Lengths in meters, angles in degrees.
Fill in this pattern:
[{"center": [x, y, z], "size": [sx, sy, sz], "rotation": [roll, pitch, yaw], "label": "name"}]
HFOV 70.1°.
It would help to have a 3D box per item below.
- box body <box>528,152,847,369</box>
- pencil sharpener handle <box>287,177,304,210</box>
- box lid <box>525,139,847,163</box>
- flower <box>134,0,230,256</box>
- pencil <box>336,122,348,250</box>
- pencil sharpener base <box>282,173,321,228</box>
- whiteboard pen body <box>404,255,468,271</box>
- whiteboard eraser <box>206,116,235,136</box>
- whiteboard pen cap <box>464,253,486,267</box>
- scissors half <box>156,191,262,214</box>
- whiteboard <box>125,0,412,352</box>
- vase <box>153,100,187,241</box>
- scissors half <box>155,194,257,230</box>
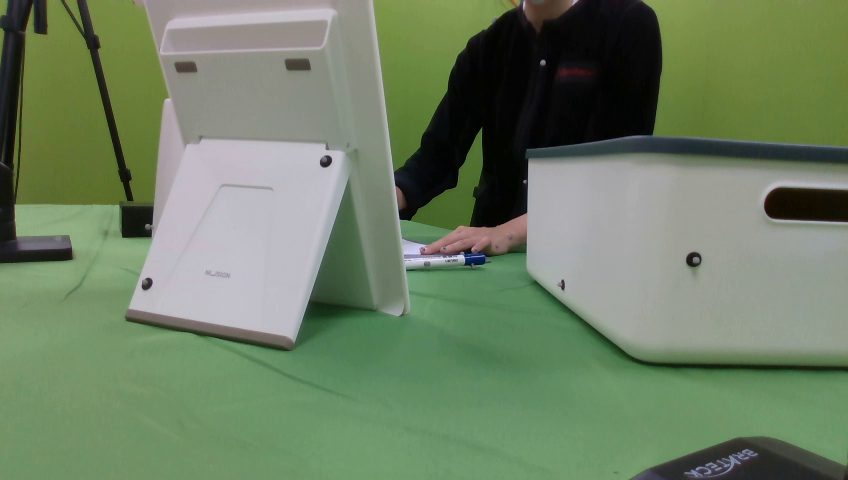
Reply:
[{"center": [0.258, -0.005, 0.591], "size": [0.254, 0.160, 0.363], "rotation": [2, 7, -4], "label": "box body"}, {"center": [-0.269, -0.096, 1.257], "size": [0.036, 0.067, 0.030], "rotation": [-8, 8, -27], "label": "pencil sharpener handle"}, {"center": [0.261, -0.078, 0.580], "size": [0.264, 0.015, 0.371], "rotation": [2, 7, -4], "label": "box lid"}, {"center": [-0.282, -0.147, 0.713], "size": [0.038, 0.362, 0.044], "rotation": [-23, 24, -31], "label": "flower"}, {"center": [-0.122, -0.082, 0.913], "size": [0.012, 0.193, 0.012], "rotation": [-3, -3, 0], "label": "pencil"}, {"center": [-0.247, -0.080, 1.212], "size": [0.061, 0.107, 0.076], "rotation": [-2, 5, -28], "label": "pencil sharpener base"}, {"center": [0.013, 0.030, 0.792], "size": [0.141, 0.017, 0.017], "rotation": [-3, 9, -24], "label": "whiteboard pen body"}, {"center": [-0.450, -0.252, 1.335], "size": [0.056, 0.042, 0.112], "rotation": [1, 7, -22], "label": "whiteboard eraser"}, {"center": [0.066, 0.027, 0.818], "size": [0.033, 0.018, 0.018], "rotation": [-5, 10, -24], "label": "whiteboard pen cap"}, {"center": [-0.371, -0.068, 1.051], "size": [0.176, 0.040, 0.013], "rotation": [2, 25, -24], "label": "scissors half"}, {"center": [-0.151, -0.049, 0.472], "size": [0.216, 0.305, 0.144], "rotation": [6, 27, 24], "label": "whiteboard"}, {"center": [-0.278, -0.066, 0.736], "size": [0.098, 0.200, 0.098], "rotation": [2, 9, 0], "label": "vase"}, {"center": [-0.378, -0.051, 1.058], "size": [0.176, 0.040, 0.012], "rotation": [20, 21, -31], "label": "scissors half"}]
